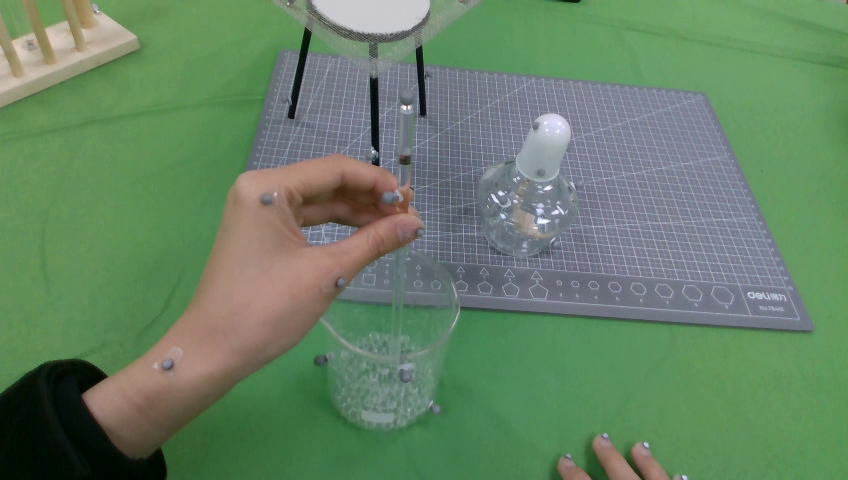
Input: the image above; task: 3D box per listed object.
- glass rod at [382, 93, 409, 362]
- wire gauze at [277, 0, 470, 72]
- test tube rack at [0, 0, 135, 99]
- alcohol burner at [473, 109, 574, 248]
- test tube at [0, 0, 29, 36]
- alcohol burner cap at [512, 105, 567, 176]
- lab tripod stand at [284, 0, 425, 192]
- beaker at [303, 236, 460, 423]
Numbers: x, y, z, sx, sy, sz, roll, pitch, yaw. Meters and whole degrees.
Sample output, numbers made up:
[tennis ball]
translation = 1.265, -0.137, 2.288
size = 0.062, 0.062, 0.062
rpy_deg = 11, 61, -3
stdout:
[glass rod]
translation = -0.017, 0.008, 0.327
size = 0.008, 0.201, 0.008
rpy_deg = 3, 46, -3
[wire gauze]
translation = -0.043, -0.177, 0.433
size = 0.124, 0.011, 0.121
rpy_deg = 36, 56, 18
[test tube rack]
translation = -0.376, -0.169, 0.499
size = 0.066, 0.086, 0.242
rpy_deg = 35, 54, 19
[alcohol burner]
translation = 0.078, -0.049, 0.447
size = 0.078, 0.120, 0.077
rpy_deg = 5, 49, -6
[test tube]
translation = -0.358, -0.237, 0.492
size = 0.017, 0.151, 0.017
rpy_deg = 2, 48, -2
[alcohol burner cap]
translation = 0.082, -0.071, 0.419
size = 0.034, 0.048, 0.033
rpy_deg = 4, 55, -5
[lab tripod stand]
translation = -0.048, -0.134, 0.485
size = 0.149, 0.132, 0.147
rpy_deg = 5, 51, -6
[beaker]
translation = -0.026, 0.058, 0.357
size = 0.084, 0.101, 0.073
rpy_deg = -3, 51, -10
